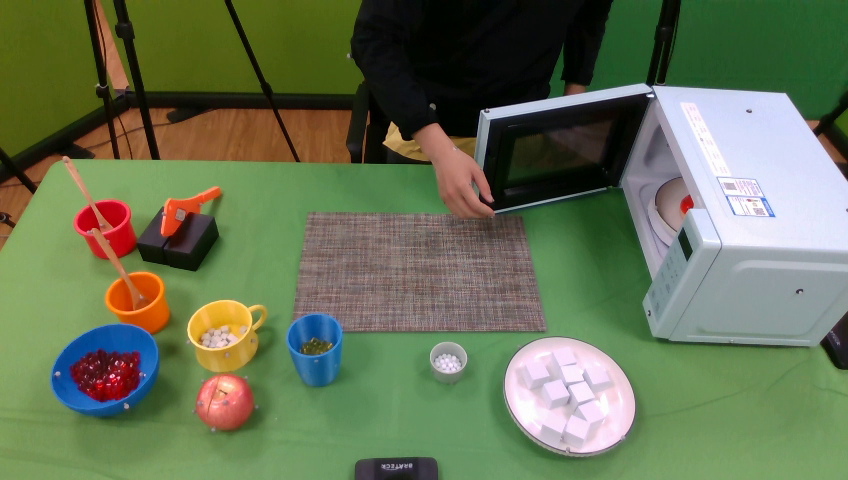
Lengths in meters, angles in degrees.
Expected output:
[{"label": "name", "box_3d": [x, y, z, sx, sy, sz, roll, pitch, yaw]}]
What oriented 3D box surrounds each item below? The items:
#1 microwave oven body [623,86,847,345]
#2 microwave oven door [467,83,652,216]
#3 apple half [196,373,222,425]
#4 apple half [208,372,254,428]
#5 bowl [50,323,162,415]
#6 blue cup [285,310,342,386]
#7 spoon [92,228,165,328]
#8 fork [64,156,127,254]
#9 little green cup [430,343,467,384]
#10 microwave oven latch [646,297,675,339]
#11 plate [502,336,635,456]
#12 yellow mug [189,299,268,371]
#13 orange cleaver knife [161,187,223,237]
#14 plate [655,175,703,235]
[{"label": "microwave oven body", "box_3d": [0.567, -0.053, 1.118, 0.326, 0.261, 0.439, 2, 45, -1]}, {"label": "microwave oven door", "box_3d": [0.267, -0.180, 1.214, 0.356, 0.245, 0.039, -13, 49, -15]}, {"label": "apple half", "box_3d": [-0.322, 0.239, 0.907, 0.033, 0.081, 0.081, 7, 46, -1]}, {"label": "apple half", "box_3d": [-0.282, 0.244, 0.908, 0.053, 0.075, 0.080, 7, 43, -1]}, {"label": "bowl", "box_3d": [-0.472, 0.209, 0.924, 0.151, 0.077, 0.150, 2, 45, -2]}, {"label": "blue cup", "box_3d": [-0.169, 0.179, 0.958, 0.093, 0.101, 0.092, 1, 44, -1]}, {"label": "spoon", "box_3d": [-0.496, 0.063, 1.014, 0.041, 0.194, 0.021, -34, 12, -32]}, {"label": "fork", "box_3d": [-0.614, -0.064, 1.130, 0.028, 0.018, 0.207, -29, 97, -16]}, {"label": "little green cup", "box_3d": [0.039, 0.203, 0.994, 0.061, 0.039, 0.061, 2, 46, -2]}, {"label": "microwave oven latch", "box_3d": [0.412, 0.134, 1.061, 0.030, 0.029, 0.078, 4, 45, 1]}, {"label": "plate", "box_3d": [0.225, 0.248, 0.963, 0.208, 0.039, 0.206, 2, 46, -2]}, {"label": "yellow mug", "box_3d": [-0.315, 0.148, 1.002, 0.131, 0.064, 0.099, -33, 56, -31]}, {"label": "orange cleaver knife", "box_3d": [-0.448, -0.059, 1.180, 0.012, 0.077, 0.211, 13, 17, 6]}, {"label": "plate", "box_3d": [0.555, -0.047, 1.182, 0.209, 0.038, 0.208, 1, 45, -1]}]
